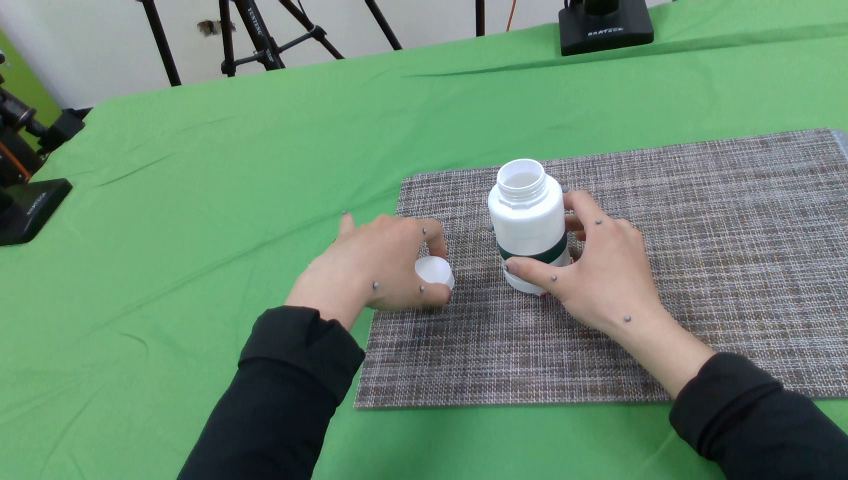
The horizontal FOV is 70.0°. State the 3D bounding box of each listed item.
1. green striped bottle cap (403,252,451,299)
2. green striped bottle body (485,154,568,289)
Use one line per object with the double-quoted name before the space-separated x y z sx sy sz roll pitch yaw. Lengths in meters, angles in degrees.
"green striped bottle cap" 0.003 0.032 0.564 0.044 0.020 0.044 -5 47 6
"green striped bottle body" 0.090 -0.017 0.528 0.063 0.120 0.062 -10 45 10
